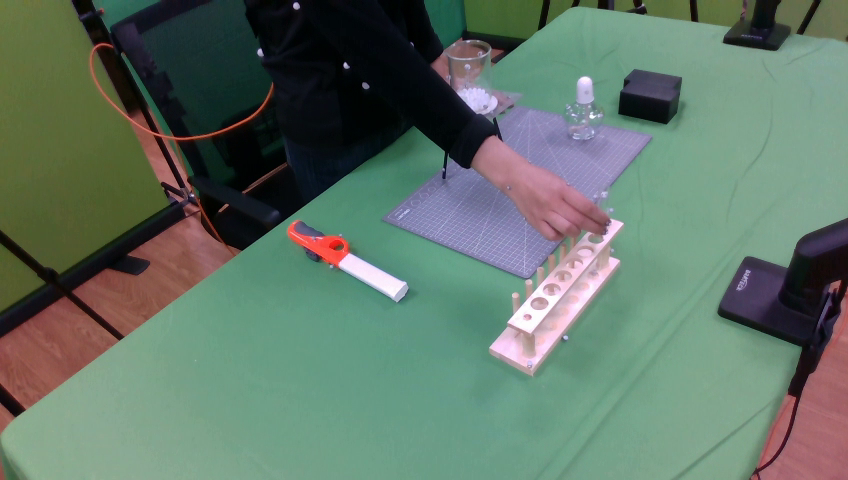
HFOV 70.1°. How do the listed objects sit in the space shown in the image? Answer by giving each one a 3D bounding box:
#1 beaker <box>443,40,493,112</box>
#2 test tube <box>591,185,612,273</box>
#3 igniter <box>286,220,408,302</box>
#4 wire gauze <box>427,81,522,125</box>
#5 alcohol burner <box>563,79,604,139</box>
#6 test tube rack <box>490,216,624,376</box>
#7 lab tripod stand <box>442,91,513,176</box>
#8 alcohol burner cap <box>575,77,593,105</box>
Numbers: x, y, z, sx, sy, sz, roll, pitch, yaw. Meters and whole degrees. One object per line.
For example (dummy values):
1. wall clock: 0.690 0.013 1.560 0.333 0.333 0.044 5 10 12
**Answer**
1. beaker: 0.076 -0.276 1.023 0.083 0.101 0.074 5 42 15
2. test tube: 0.239 -0.011 0.817 0.017 0.151 0.017 -4 42 4
3. igniter: -0.133 0.028 0.969 0.274 0.025 0.057 27 61 35
4. wire gauze: 0.088 -0.237 1.051 0.120 0.011 0.125 23 47 29
5. alcohol burner: 0.303 -0.253 1.147 0.078 0.119 0.077 -4 41 4
6. test tube rack: 0.184 0.064 0.822 0.066 0.085 0.243 24 50 33
7. lab tripod stand: 0.096 -0.190 1.096 0.148 0.132 0.147 -4 40 4
8. alcohol burner cap: 0.297 -0.279 1.123 0.034 0.048 0.033 -8 41 8
